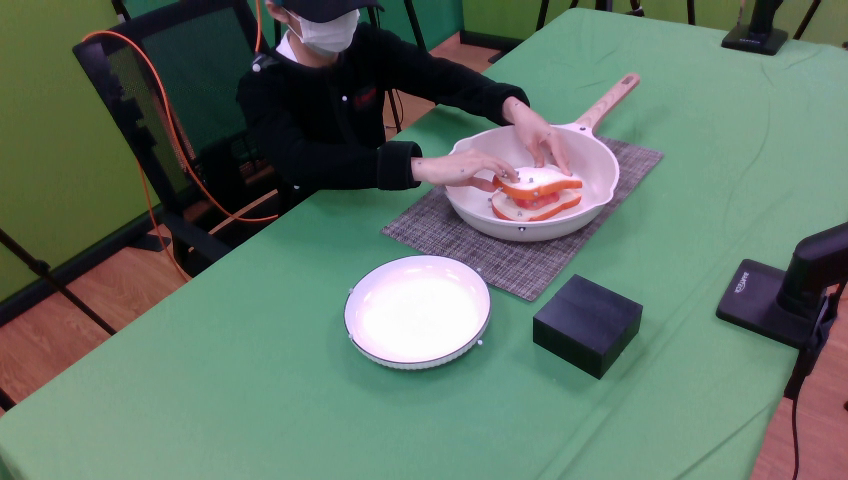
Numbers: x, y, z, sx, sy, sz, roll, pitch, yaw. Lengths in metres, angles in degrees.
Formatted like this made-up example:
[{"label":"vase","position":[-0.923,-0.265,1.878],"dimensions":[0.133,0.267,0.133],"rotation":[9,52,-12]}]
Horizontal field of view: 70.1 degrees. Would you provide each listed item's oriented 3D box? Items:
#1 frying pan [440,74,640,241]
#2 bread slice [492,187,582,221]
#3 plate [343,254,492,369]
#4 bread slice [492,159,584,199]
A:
[{"label":"frying pan","position":[0.245,-0.161,1.059],"dimensions":[0.304,0.103,0.489],"rotation":[30,61,35]},{"label":"bread slice","position":[0.183,-0.066,1.017],"dimensions":[0.135,0.018,0.106],"rotation":[-28,43,-23]},{"label":"plate","position":[-0.008,0.100,0.847],"dimensions":[0.207,0.039,0.206],"rotation":[-4,40,4]},{"label":"bread slice","position":[0.181,-0.100,0.988],"dimensions":[0.132,0.019,0.104],"rotation":[-20,32,-32]}]
